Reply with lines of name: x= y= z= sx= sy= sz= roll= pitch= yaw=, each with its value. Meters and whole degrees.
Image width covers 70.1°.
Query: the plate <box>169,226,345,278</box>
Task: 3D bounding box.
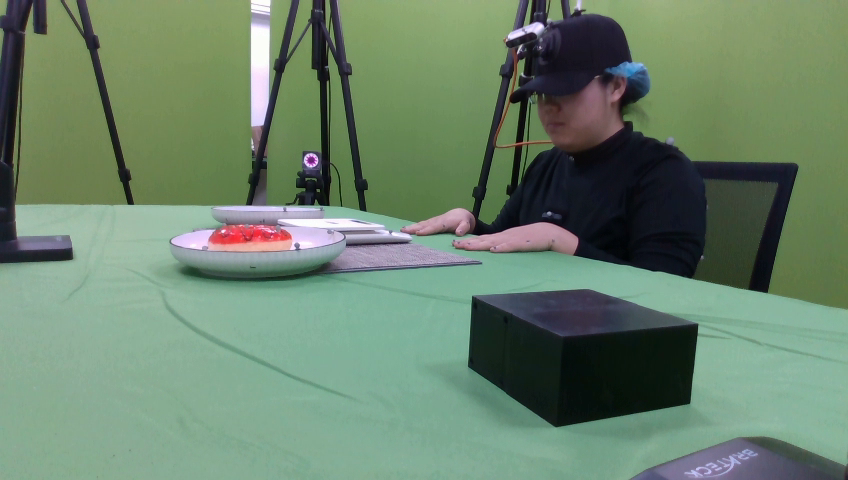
plate: x=-0.202 y=0.014 z=0.748 sx=0.209 sy=0.038 sz=0.209 roll=1 pitch=9 yaw=0

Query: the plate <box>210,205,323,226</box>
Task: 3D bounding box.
plate: x=-0.298 y=-0.043 z=1.153 sx=0.208 sy=0.039 sz=0.207 roll=2 pitch=5 yaw=0

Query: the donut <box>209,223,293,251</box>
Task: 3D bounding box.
donut: x=-0.210 y=0.004 z=0.738 sx=0.099 sy=0.048 sz=0.099 roll=0 pitch=8 yaw=0

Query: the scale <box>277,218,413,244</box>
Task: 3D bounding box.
scale: x=-0.134 y=-0.016 z=1.015 sx=0.202 sy=0.031 sz=0.148 roll=-1 pitch=9 yaw=-33
